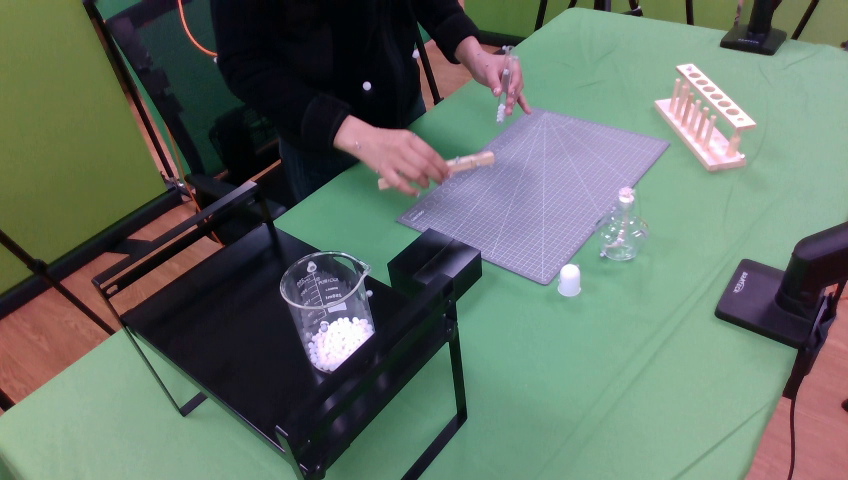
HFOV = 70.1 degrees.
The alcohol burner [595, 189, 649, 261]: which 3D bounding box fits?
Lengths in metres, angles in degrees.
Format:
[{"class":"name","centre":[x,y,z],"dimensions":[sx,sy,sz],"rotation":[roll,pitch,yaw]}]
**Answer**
[{"class":"alcohol burner","centre":[0.294,-0.028,0.894],"dimensions":[0.078,0.119,0.077],"rotation":[-4,43,5]}]

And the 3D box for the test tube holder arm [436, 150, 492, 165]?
[{"class":"test tube holder arm","centre":[0.061,-0.118,0.908],"dimensions":[0.088,0.015,0.010],"rotation":[-16,21,-10]}]

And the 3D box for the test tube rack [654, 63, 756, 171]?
[{"class":"test tube rack","centre":[0.510,-0.233,1.120],"dimensions":[0.067,0.085,0.241],"rotation":[-8,41,-1]}]

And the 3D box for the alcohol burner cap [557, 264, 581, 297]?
[{"class":"alcohol burner cap","centre":[0.208,0.055,0.866],"dimensions":[0.034,0.048,0.033],"rotation":[-4,41,4]}]

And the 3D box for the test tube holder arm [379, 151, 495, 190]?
[{"class":"test tube holder arm","centre":[0.020,-0.104,0.894],"dimensions":[0.179,0.015,0.013],"rotation":[-17,21,-12]}]

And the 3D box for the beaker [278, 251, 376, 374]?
[{"class":"beaker","centre":[-0.084,0.070,0.569],"dimensions":[0.084,0.101,0.073],"rotation":[-18,42,-13]}]

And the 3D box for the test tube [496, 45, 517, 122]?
[{"class":"test tube","centre":[0.137,-0.259,1.014],"dimensions":[0.017,0.150,0.017],"rotation":[1,52,-1]}]
